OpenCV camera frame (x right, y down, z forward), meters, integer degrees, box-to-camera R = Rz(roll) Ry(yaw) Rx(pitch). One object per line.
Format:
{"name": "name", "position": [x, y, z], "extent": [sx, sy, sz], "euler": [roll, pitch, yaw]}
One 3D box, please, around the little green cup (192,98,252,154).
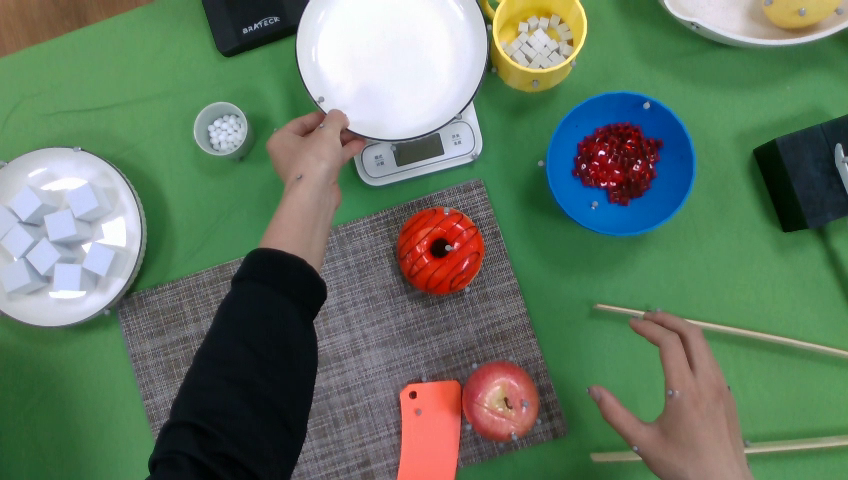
{"name": "little green cup", "position": [-0.229, -0.128, 0.697], "extent": [0.061, 0.039, 0.061], "euler": [0, 86, 3]}

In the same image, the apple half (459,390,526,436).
{"name": "apple half", "position": [0.067, 0.187, 0.641], "extent": [0.081, 0.081, 0.032], "euler": [25, 83, 5]}

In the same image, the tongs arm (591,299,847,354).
{"name": "tongs arm", "position": [0.373, 0.111, 0.655], "extent": [0.387, 0.028, 0.028], "euler": [12, 81, 2]}

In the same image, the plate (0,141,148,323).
{"name": "plate", "position": [-0.416, -0.009, 0.699], "extent": [0.207, 0.039, 0.207], "euler": [0, 86, 3]}

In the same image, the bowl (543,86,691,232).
{"name": "bowl", "position": [0.198, -0.080, 0.654], "extent": [0.151, 0.077, 0.151], "euler": [0, 87, 3]}

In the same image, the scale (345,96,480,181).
{"name": "scale", "position": [-0.027, -0.179, 0.694], "extent": [0.148, 0.031, 0.200], "euler": [-14, 86, 2]}

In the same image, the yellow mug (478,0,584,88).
{"name": "yellow mug", "position": [0.109, -0.238, 0.674], "extent": [0.130, 0.064, 0.100], "euler": [39, 90, 5]}

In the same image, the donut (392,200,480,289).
{"name": "donut", "position": [0.013, 0.005, 0.671], "extent": [0.099, 0.048, 0.099], "euler": [0, 88, 4]}

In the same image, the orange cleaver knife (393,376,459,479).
{"name": "orange cleaver knife", "position": [-0.007, 0.251, 0.668], "extent": [0.077, 0.012, 0.211], "euler": [11, 85, -3]}

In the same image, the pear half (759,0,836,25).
{"name": "pear half", "position": [0.399, -0.264, 0.635], "extent": [0.076, 0.110, 0.056], "euler": [18, 88, 8]}

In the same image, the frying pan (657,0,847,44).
{"name": "frying pan", "position": [0.436, -0.278, 0.642], "extent": [0.307, 0.103, 0.485], "euler": [-45, 78, 0]}

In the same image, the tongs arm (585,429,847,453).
{"name": "tongs arm", "position": [0.368, 0.196, 0.650], "extent": [0.385, 0.026, 0.050], "euler": [-2, 84, 2]}

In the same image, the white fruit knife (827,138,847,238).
{"name": "white fruit knife", "position": [0.452, -0.008, 0.637], "extent": [0.016, 0.027, 0.208], "euler": [-20, 100, 2]}

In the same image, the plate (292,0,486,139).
{"name": "plate", "position": [-0.037, -0.210, 0.661], "extent": [0.209, 0.038, 0.208], "euler": [0, 84, 1]}

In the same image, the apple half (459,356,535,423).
{"name": "apple half", "position": [0.083, 0.152, 0.643], "extent": [0.080, 0.075, 0.053], "euler": [24, 84, 8]}
